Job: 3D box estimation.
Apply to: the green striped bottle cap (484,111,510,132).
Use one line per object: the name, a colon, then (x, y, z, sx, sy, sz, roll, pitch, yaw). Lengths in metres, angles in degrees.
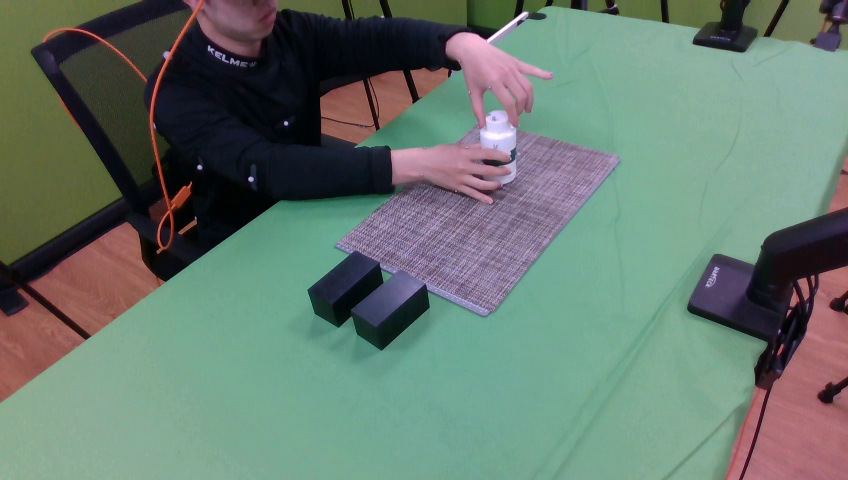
green striped bottle cap: (0.124, -0.201, 1.024, 0.044, 0.020, 0.044, 1, 40, 0)

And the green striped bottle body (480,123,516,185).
green striped bottle body: (0.130, -0.161, 1.057, 0.063, 0.120, 0.063, -4, 40, 4)
